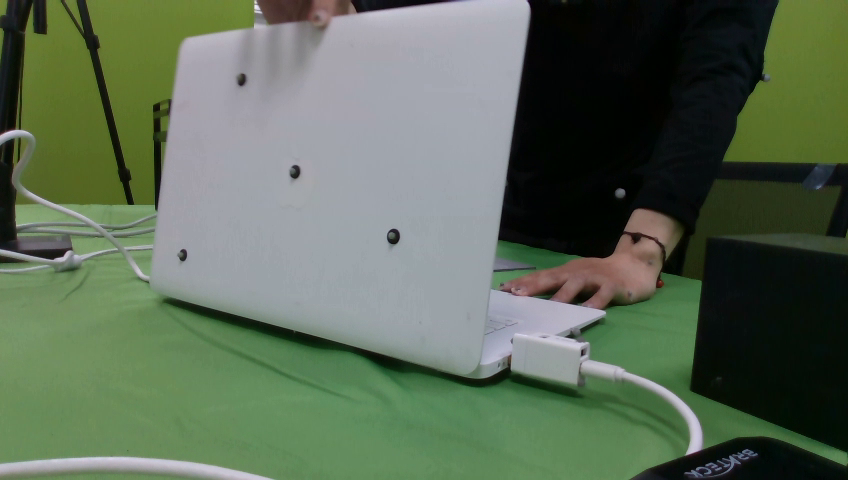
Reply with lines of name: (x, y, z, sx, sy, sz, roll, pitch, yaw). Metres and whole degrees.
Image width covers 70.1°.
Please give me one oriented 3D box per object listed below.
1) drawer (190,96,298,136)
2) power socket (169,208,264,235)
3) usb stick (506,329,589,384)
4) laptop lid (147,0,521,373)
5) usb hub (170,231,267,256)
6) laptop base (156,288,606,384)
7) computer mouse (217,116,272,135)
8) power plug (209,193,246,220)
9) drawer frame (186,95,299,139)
drawer: (-0.413, -0.276, 1.376, 0.195, 0.073, 0.210, -3, 9, -31)
power socket: (-0.381, -0.038, 1.128, 0.072, 0.032, 0.227, 4, 8, 16)
usb stick: (0.072, 0.072, 0.382, 0.059, 0.027, 0.021, 2, 2, 34)
laptop lid: (-0.098, -0.052, 0.454, 0.355, 0.241, 0.013, 9, 2, 34)
usb hub: (-0.290, 0.005, 0.862, 0.049, 0.025, 0.126, 10, 11, 42)
laptop base: (-0.042, 0.059, 0.554, 0.352, 0.023, 0.237, 8, 7, 35)
computer mouse: (-0.402, -0.258, 1.353, 0.118, 0.041, 0.062, -6, 15, -34)
power plug: (-0.388, -0.067, 1.205, 0.072, 0.052, 0.035, 3, 8, 26)
drawer frame: (-0.417, -0.277, 1.378, 0.203, 0.082, 0.212, -3, 8, -32)
